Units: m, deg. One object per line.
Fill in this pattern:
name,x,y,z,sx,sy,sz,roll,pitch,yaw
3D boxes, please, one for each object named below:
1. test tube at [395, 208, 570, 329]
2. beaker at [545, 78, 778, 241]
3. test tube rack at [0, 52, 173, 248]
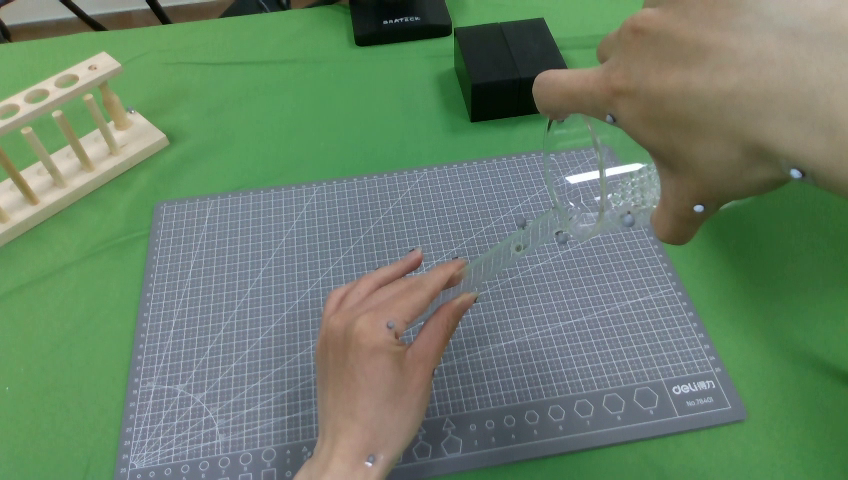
test tube,0.032,0.023,0.395,0.017,0.150,0.017,30,42,-30
beaker,0.125,-0.043,0.327,0.100,0.084,0.073,-12,56,-7
test tube rack,-0.371,-0.073,0.565,0.066,0.086,0.242,36,61,26
